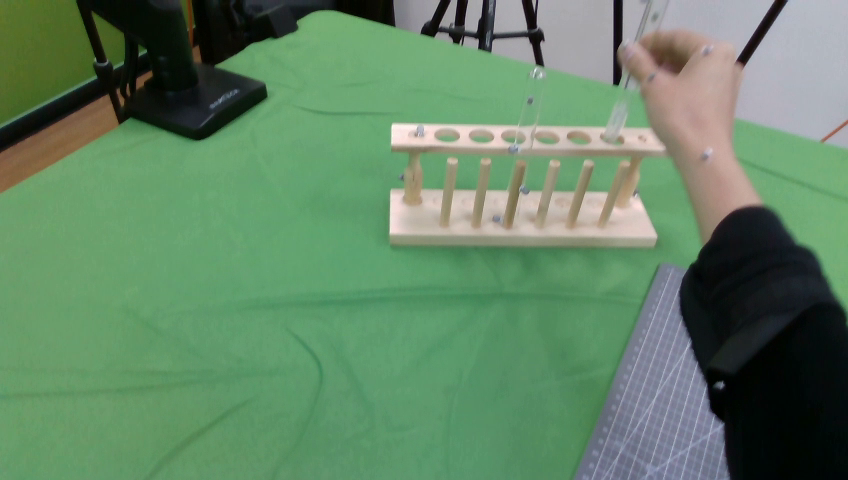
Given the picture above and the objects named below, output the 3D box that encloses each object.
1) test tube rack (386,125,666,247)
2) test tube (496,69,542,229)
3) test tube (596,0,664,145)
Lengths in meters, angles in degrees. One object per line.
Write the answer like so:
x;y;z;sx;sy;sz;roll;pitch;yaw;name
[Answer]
0.088;-0.048;0.545;0.243;0.086;0.066;0;42;-4;test tube rack
0.078;-0.070;0.502;0.017;0.152;0.017;3;41;-2;test tube
0.165;-0.138;0.488;0.017;0.151;0.017;3;47;-3;test tube
